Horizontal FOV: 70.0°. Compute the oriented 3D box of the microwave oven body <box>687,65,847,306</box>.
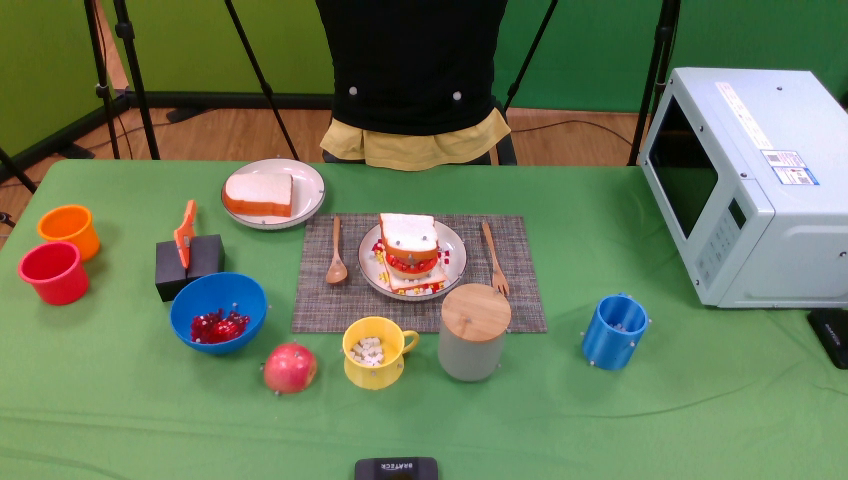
[{"bbox_3d":[0.669,-0.111,1.176,0.326,0.261,0.439,0,46,-3],"label":"microwave oven body"}]

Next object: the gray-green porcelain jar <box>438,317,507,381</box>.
[{"bbox_3d":[0.076,0.158,0.977,0.106,0.127,0.105,2,47,-2],"label":"gray-green porcelain jar"}]

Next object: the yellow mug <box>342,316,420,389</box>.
[{"bbox_3d":[-0.067,0.178,0.990,0.131,0.064,0.099,-16,50,-19],"label":"yellow mug"}]

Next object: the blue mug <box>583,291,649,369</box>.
[{"bbox_3d":[0.324,0.142,1.023,0.082,0.106,0.116,15,47,11],"label":"blue mug"}]

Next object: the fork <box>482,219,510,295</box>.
[{"bbox_3d":[0.136,0.029,1.172,0.028,0.019,0.206,-10,48,2],"label":"fork"}]

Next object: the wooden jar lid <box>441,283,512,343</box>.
[{"bbox_3d":[0.080,0.114,0.931,0.108,0.021,0.107,1,49,-1],"label":"wooden jar lid"}]

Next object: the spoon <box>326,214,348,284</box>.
[{"bbox_3d":[-0.167,0.013,1.164,0.041,0.022,0.192,-19,47,11],"label":"spoon"}]

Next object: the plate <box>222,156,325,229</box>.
[{"bbox_3d":[-0.308,-0.095,1.251,0.209,0.038,0.208,2,47,-2],"label":"plate"}]

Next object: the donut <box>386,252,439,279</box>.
[{"bbox_3d":[-0.021,0.029,1.110,0.099,0.048,0.098,2,46,-2],"label":"donut"}]

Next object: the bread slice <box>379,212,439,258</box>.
[{"bbox_3d":[-0.024,-0.012,1.064,0.105,0.019,0.130,3,33,-10],"label":"bread slice"}]

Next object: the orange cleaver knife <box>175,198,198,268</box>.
[{"bbox_3d":[-0.438,-0.017,1.138,0.012,0.077,0.210,-13,27,-7],"label":"orange cleaver knife"}]

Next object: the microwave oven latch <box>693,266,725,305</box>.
[{"bbox_3d":[0.523,0.081,1.115,0.030,0.029,0.078,3,46,0],"label":"microwave oven latch"}]

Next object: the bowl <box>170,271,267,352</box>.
[{"bbox_3d":[-0.333,0.132,1.006,0.151,0.077,0.150,2,46,-2],"label":"bowl"}]

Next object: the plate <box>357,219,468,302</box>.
[{"bbox_3d":[-0.021,0.037,1.141,0.208,0.039,0.206,2,46,-2],"label":"plate"}]

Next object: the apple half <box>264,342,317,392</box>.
[{"bbox_3d":[-0.214,0.198,0.970,0.074,0.053,0.080,19,48,11],"label":"apple half"}]

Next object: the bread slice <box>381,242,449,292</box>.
[{"bbox_3d":[-0.027,0.039,1.139,0.107,0.018,0.133,-12,47,-16],"label":"bread slice"}]

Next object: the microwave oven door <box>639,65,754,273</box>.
[{"bbox_3d":[0.522,-0.147,1.193,0.039,0.245,0.353,0,47,-3],"label":"microwave oven door"}]
